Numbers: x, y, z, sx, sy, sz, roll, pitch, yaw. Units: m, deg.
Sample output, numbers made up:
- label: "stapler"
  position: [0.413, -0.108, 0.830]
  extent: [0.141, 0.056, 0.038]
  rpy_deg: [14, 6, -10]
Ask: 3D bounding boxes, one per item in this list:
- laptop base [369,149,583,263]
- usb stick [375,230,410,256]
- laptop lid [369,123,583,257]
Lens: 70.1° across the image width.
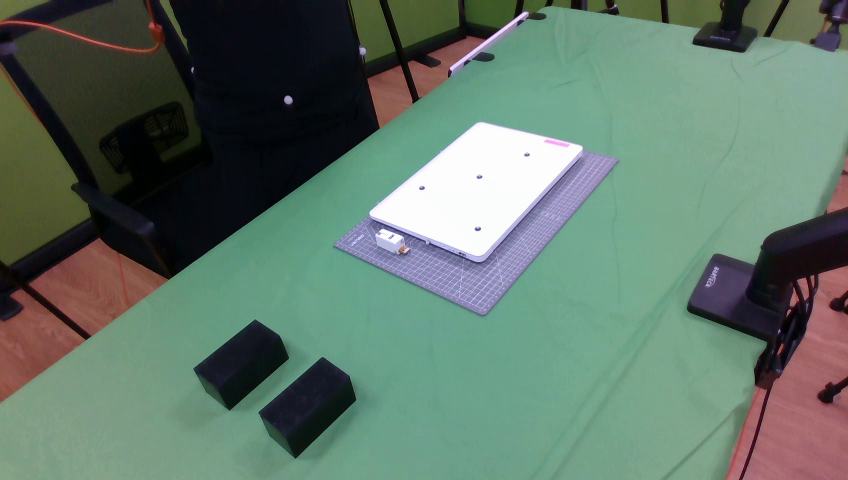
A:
- label: "laptop base"
  position: [0.101, -0.096, 1.071]
  extent: [0.233, 0.023, 0.355]
  rpy_deg: [20, 47, 32]
- label: "usb stick"
  position: [-0.049, 0.007, 0.962]
  extent: [0.059, 0.027, 0.021]
  rpy_deg: [24, 46, 28]
- label: "laptop lid"
  position: [0.097, -0.106, 1.065]
  extent: [0.239, 0.013, 0.358]
  rpy_deg: [22, 48, 33]
